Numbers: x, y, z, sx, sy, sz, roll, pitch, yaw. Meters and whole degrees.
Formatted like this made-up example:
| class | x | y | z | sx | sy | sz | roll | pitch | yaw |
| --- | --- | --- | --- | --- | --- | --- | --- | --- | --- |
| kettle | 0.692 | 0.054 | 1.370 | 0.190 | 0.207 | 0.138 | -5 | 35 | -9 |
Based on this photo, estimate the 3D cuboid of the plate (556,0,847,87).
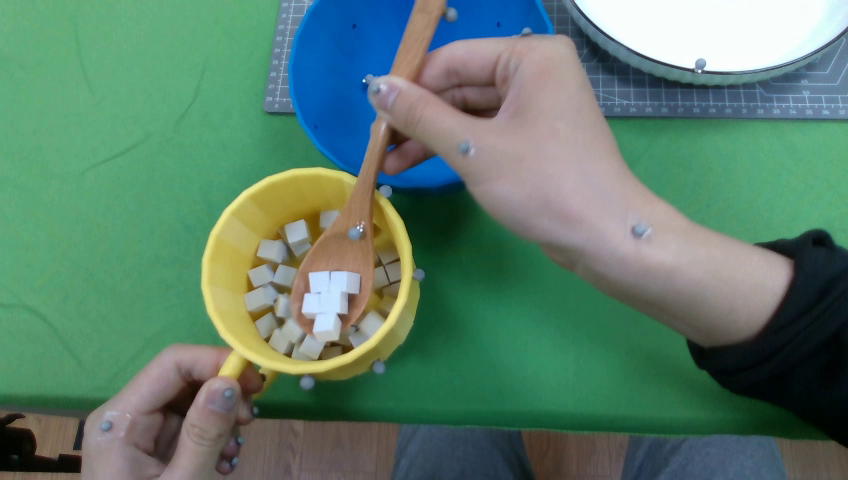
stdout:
| class | x | y | z | sx | sy | sz | roll | pitch | yaw |
| --- | --- | --- | --- | --- | --- | --- | --- | --- | --- |
| plate | 0.185 | -0.189 | 0.410 | 0.209 | 0.038 | 0.207 | -1 | 71 | 4 |

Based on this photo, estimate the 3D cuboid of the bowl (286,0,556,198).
| class | x | y | z | sx | sy | sz | roll | pitch | yaw |
| --- | --- | --- | --- | --- | --- | --- | --- | --- | --- |
| bowl | 0.001 | -0.087 | 0.371 | 0.151 | 0.077 | 0.150 | -1 | 75 | 5 |

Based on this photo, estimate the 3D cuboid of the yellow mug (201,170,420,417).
| class | x | y | z | sx | sy | sz | roll | pitch | yaw |
| --- | --- | --- | --- | --- | --- | --- | --- | --- | --- |
| yellow mug | -0.062 | 0.034 | 0.310 | 0.099 | 0.064 | 0.130 | 33 | 79 | 10 |

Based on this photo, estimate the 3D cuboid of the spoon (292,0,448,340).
| class | x | y | z | sx | sy | sz | roll | pitch | yaw |
| --- | --- | --- | --- | --- | --- | --- | --- | --- | --- |
| spoon | -0.020 | -0.041 | 0.283 | 0.041 | 0.022 | 0.194 | 26 | 107 | 17 |
